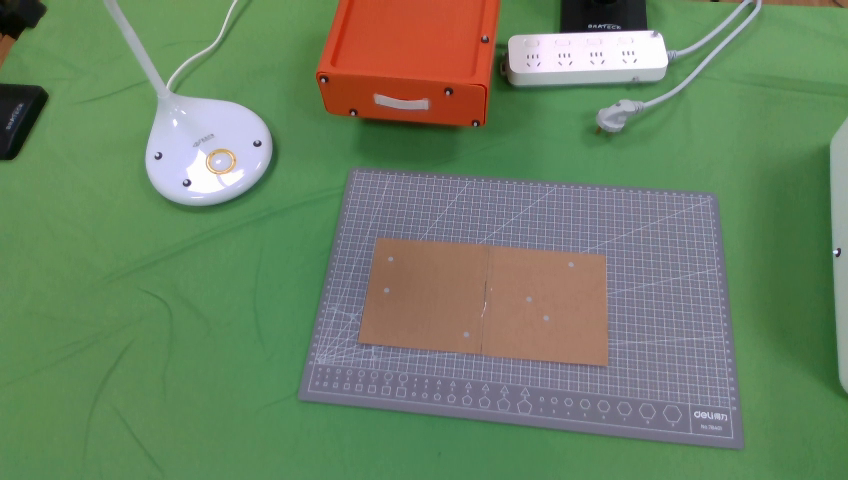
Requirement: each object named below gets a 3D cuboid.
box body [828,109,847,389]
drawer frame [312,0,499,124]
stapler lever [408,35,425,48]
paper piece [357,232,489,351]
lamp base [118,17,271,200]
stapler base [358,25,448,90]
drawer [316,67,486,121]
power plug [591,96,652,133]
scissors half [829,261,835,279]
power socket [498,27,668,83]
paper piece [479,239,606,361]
[{"bbox_3d":[0.566,-0.003,0.597,0.253,0.162,0.361,12,63,9],"label":"box body"},{"bbox_3d":[-0.014,-0.258,0.760,0.201,0.083,0.212,6,62,7],"label":"drawer frame"},{"bbox_3d":[-0.039,-0.244,0.745,0.117,0.040,0.027,34,85,23],"label":"stapler lever"},{"bbox_3d":[0.001,0.054,0.684,0.136,0.009,0.137,4,64,9],"label":"paper piece"},{"bbox_3d":[-0.292,-0.163,0.718,0.178,0.182,0.160,36,69,23],"label":"lamp base"},{"bbox_3d":[-0.030,-0.237,0.769,0.129,0.024,0.041,34,86,21],"label":"stapler base"},{"bbox_3d":[-0.013,-0.256,0.758,0.194,0.074,0.210,6,62,7],"label":"drawer"},{"bbox_3d":[0.249,-0.155,0.766,0.073,0.053,0.035,7,57,-15],"label":"power plug"},{"bbox_3d":[0.519,0.005,0.674,0.175,0.013,0.039,-22,64,-13],"label":"scissors half"},{"bbox_3d":[0.215,-0.251,0.821,0.227,0.033,0.071,0,63,3],"label":"power socket"},{"bbox_3d":[0.132,0.063,0.670,0.135,0.004,0.134,5,63,6],"label":"paper piece"}]
